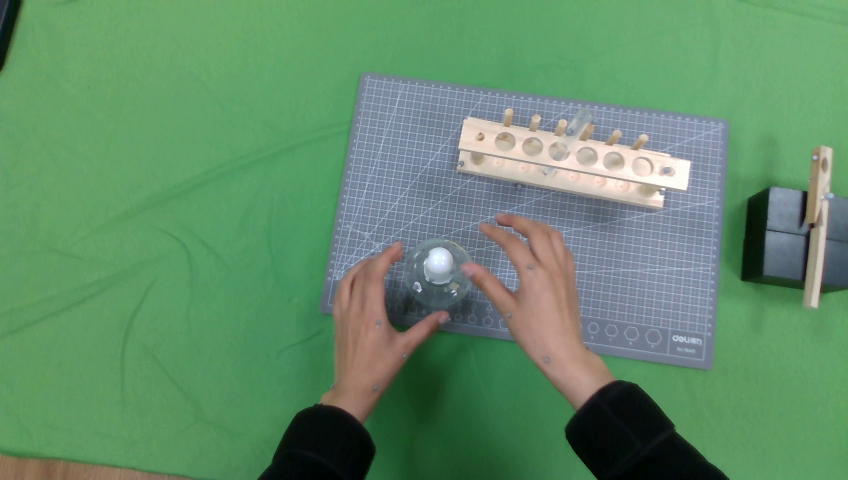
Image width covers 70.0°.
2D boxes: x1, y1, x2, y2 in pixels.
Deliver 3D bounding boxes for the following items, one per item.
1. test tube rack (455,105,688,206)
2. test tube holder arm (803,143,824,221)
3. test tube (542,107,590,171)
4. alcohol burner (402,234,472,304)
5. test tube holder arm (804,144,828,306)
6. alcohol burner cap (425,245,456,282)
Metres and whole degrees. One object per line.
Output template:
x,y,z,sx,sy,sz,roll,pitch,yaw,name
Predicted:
0.161,-0.102,0.683,0.242,0.085,0.066,11,81,2,test tube rack
0.425,-0.063,0.661,0.010,0.015,0.087,10,81,-5,test tube holder arm
0.145,-0.102,0.632,0.017,0.151,0.017,0,78,-1,test tube
0.015,0.029,0.648,0.078,0.119,0.077,0,79,-1,alcohol burner
0.424,-0.018,0.655,0.013,0.015,0.178,9,81,-5,test tube holder arm
0.015,0.023,0.612,0.034,0.048,0.033,-1,74,5,alcohol burner cap
